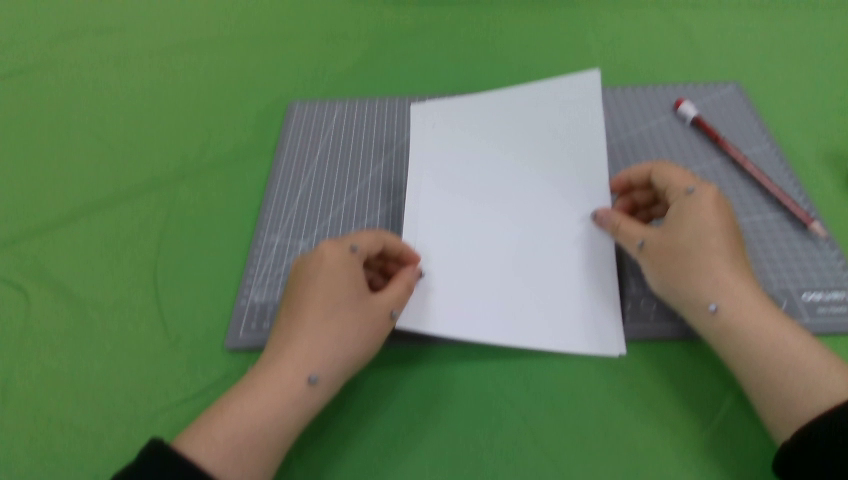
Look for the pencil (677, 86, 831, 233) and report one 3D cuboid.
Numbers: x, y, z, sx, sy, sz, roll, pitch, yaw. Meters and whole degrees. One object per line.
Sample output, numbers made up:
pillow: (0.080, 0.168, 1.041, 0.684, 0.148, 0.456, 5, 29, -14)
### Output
pencil: (0.271, -0.073, 0.509, 0.012, 0.012, 0.192, -16, 51, -10)
